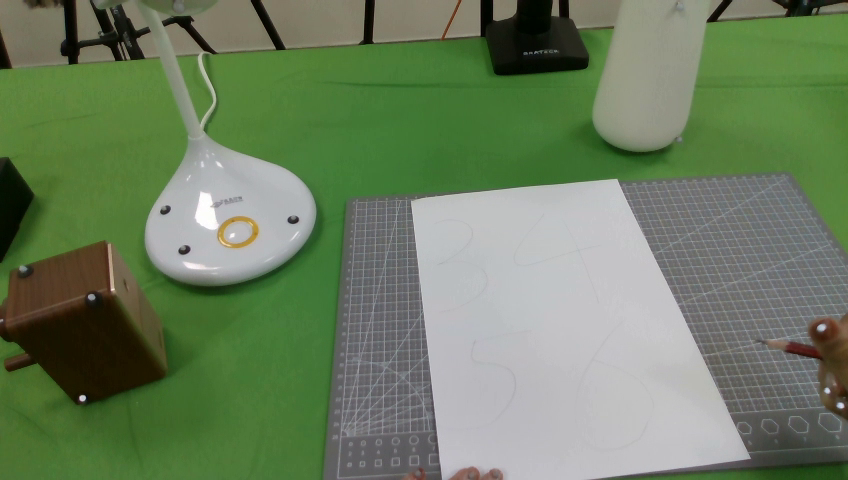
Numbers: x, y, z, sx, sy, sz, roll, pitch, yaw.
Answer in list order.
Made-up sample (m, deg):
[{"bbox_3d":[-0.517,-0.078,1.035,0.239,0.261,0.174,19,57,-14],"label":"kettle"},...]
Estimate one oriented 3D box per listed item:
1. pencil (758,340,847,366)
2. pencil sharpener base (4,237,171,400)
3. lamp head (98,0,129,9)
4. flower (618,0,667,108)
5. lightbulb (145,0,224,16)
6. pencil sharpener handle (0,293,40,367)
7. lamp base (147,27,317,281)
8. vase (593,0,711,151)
[{"bbox_3d":[0.287,0.077,0.331,0.192,0.012,0.012,9,42,46],"label":"pencil"},{"bbox_3d":[-0.248,0.062,0.454,0.077,0.108,0.060,-19,49,-13],"label":"pencil sharpener base"},{"bbox_3d":[-0.147,-0.196,0.308,0.112,0.124,0.111,-24,22,11],"label":"lamp head"},{"bbox_3d":[0.218,-0.229,0.527,0.044,0.364,0.038,38,72,17],"label":"flower"},{"bbox_3d":[-0.137,-0.172,0.313,0.059,0.108,0.059,-14,24,7],"label":"lightbulb"},{"bbox_3d":[-0.296,0.069,0.434,0.031,0.068,0.035,-19,52,-13],"label":"pencil sharpener handle"},{"bbox_3d":[-0.195,-0.082,0.538,0.161,0.182,0.177,-27,48,-21],"label":"lamp base"},{"bbox_3d":[0.227,-0.188,0.601,0.098,0.202,0.097,-3,45,3],"label":"vase"}]
